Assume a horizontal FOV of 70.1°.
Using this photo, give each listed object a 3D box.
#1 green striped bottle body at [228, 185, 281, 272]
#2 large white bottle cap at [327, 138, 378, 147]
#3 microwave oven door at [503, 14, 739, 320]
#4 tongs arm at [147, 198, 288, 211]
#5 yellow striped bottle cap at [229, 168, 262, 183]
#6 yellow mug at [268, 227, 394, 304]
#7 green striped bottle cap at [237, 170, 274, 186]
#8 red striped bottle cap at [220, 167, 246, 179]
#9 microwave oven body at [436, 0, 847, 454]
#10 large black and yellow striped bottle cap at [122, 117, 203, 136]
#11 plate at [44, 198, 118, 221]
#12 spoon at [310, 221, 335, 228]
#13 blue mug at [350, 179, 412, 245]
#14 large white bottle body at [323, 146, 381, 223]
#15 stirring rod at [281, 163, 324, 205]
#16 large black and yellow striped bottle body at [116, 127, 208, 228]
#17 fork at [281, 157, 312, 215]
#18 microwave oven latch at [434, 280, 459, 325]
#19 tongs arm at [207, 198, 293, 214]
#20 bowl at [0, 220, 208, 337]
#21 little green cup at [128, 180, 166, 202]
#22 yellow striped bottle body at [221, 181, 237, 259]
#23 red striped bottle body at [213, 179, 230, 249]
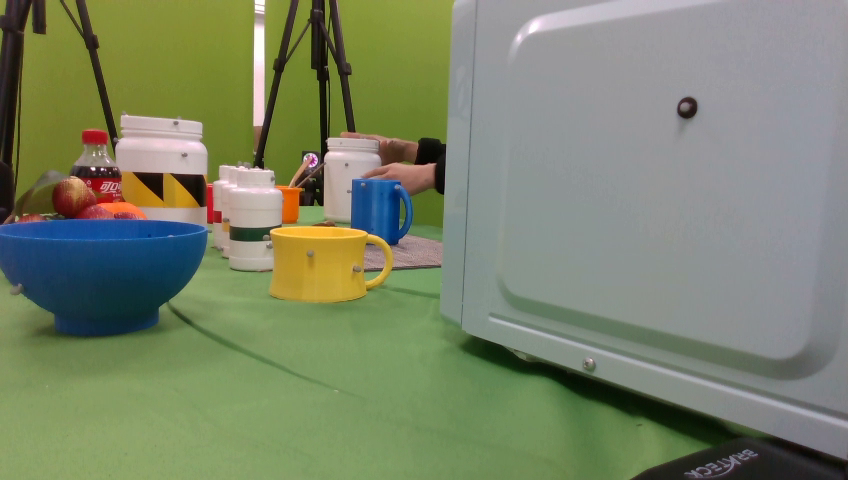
[{"bbox_3d":[-0.208,-0.023,0.745,0.063,0.119,0.063,2,7,0],"label":"green striped bottle body"},{"bbox_3d":[-0.160,-0.218,1.357,0.115,0.018,0.115,2,8,0],"label":"large white bottle cap"},{"bbox_3d":[0.218,-0.065,0.600,0.358,0.243,0.039,-4,10,-41],"label":"microwave oven door"},{"bbox_3d":[-0.503,-0.090,1.513,0.028,0.028,0.389,-1,3,38],"label":"tongs arm"},{"bbox_3d":[-0.240,-0.087,0.816,0.044,0.018,0.044,-3,5,1],"label":"yellow striped bottle cap"},{"bbox_3d":[-0.094,0.023,0.629,0.131,0.064,0.099,0,7,-22],"label":"yellow mug"},{"bbox_3d":[-0.205,-0.075,0.737,0.044,0.020,0.044,1,6,0],"label":"green striped bottle cap"},{"bbox_3d":[-0.281,-0.100,0.901,0.044,0.017,0.044,0,5,0],"label":"red striped bottle cap"},{"bbox_3d":[0.279,-0.040,0.464,0.444,0.260,0.324,-3,9,-41],"label":"microwave oven body"},{"bbox_3d":[-0.399,-0.174,0.927,0.115,0.019,0.115,5,9,-1],"label":"large black and yellow striped bottle cap"},{"bbox_3d":[-0.617,-0.056,1.179,0.209,0.038,0.209,3,7,0],"label":"plate"},{"bbox_3d":[-0.185,-0.027,1.131,0.041,0.021,0.193,-18,6,2],"label":"spoon"},{"bbox_3d":[-0.068,-0.046,1.000,0.116,0.106,0.083,7,9,32],"label":"blue mug"},{"bbox_3d":[-0.163,-0.135,1.368,0.131,0.184,0.130,2,8,0],"label":"large white bottle body"},{"bbox_3d":[-0.278,-0.105,1.293,0.176,0.006,0.014,-47,24,-18],"label":"stirring rod"},{"bbox_3d":[-0.404,-0.089,0.937,0.131,0.184,0.130,3,7,0],"label":"large black and yellow striped bottle body"},{"bbox_3d":[-0.289,-0.116,1.321,0.028,0.019,0.207,6,51,19],"label":"fork"},{"bbox_3d":[0.044,0.045,0.470,0.079,0.029,0.030,-2,8,-39],"label":"microwave oven latch"},{"bbox_3d":[-0.423,-0.084,1.472,0.050,0.026,0.386,1,6,22],"label":"tongs arm"},{"bbox_3d":[-0.251,0.029,0.479,0.151,0.077,0.151,2,7,0],"label":"bowl"},{"bbox_3d":[-0.485,-0.087,1.062,0.061,0.038,0.061,-1,6,0],"label":"little green cup"},{"bbox_3d":[-0.244,-0.035,0.823,0.063,0.120,0.063,2,8,0],"label":"yellow striped bottle body"},{"bbox_3d":[-0.284,-0.048,0.909,0.063,0.119,0.063,3,10,0],"label":"red striped bottle body"}]
